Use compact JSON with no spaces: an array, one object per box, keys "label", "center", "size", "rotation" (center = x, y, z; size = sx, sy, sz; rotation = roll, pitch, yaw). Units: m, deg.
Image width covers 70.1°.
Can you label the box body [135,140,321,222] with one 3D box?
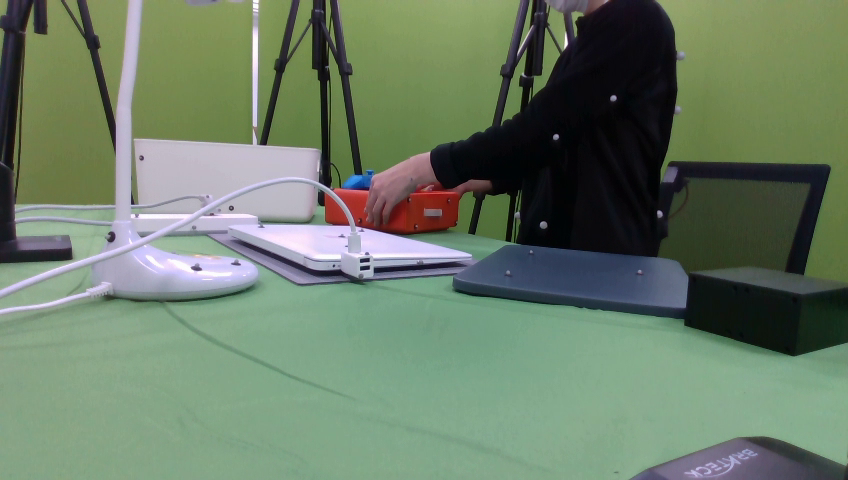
[{"label":"box body","center":[-0.420,-0.133,1.354],"size":[0.365,0.160,0.253],"rotation":[2,7,-8]}]

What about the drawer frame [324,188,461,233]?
[{"label":"drawer frame","center":[-0.064,-0.068,1.276],"size":[0.212,0.082,0.202],"rotation":[6,9,34]}]

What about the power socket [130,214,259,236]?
[{"label":"power socket","center":[-0.397,-0.028,1.048],"size":[0.228,0.032,0.072],"rotation":[-3,7,-35]}]

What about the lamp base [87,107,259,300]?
[{"label":"lamp base","center":[-0.254,-0.039,0.604],"size":[0.160,0.180,0.179],"rotation":[5,10,18]}]

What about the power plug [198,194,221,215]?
[{"label":"power plug","center":[-0.386,-0.055,1.088],"size":[0.035,0.052,0.072],"rotation":[-1,7,-24]}]

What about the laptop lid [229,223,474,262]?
[{"label":"laptop lid","center":[-0.121,0.000,0.888],"size":[0.243,0.013,0.355],"rotation":[1,7,-33]}]

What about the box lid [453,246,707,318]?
[{"label":"box lid","center":[0.203,0.044,0.780],"size":[0.262,0.015,0.372],"rotation":[5,7,17]}]

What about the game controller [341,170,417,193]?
[{"label":"game controller","center":[-0.090,-0.121,1.281],"size":[0.155,0.051,0.097],"rotation":[4,4,9]}]

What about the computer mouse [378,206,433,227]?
[{"label":"computer mouse","center":[-0.038,-0.049,1.255],"size":[0.062,0.041,0.118],"rotation":[12,15,41]}]

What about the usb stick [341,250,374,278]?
[{"label":"usb stick","center":[-0.079,0.026,0.686],"size":[0.021,0.027,0.059],"rotation":[-8,8,-30]}]

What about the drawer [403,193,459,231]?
[{"label":"drawer","center":[-0.062,-0.067,1.276],"size":[0.211,0.073,0.195],"rotation":[6,9,34]}]

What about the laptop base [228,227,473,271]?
[{"label":"laptop base","center":[-0.124,0.011,0.889],"size":[0.237,0.023,0.352],"rotation":[2,6,-35]}]

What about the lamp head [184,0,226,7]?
[{"label":"lamp head","center":[-0.229,-0.320,0.627],"size":[0.112,0.112,0.123],"rotation":[6,-36,26]}]
